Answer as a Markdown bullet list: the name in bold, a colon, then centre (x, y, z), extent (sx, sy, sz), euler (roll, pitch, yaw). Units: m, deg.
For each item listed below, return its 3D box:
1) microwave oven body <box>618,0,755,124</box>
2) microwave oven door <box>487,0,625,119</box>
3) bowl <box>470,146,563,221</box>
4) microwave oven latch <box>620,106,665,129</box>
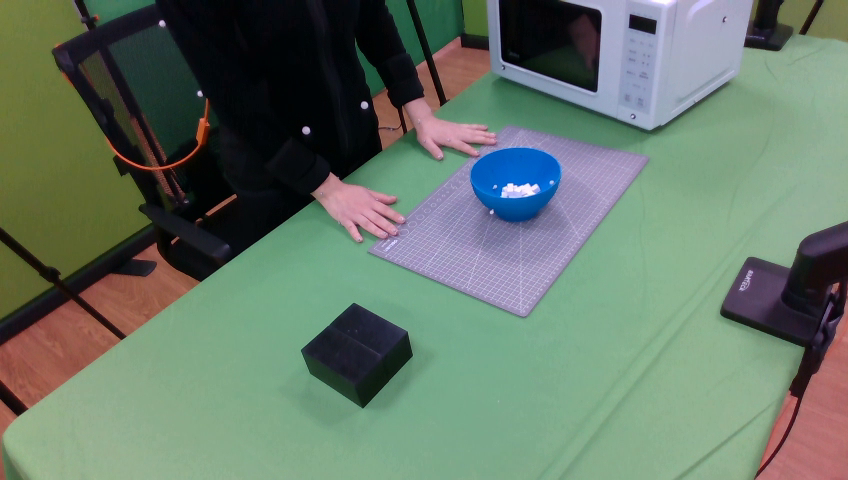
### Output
- **microwave oven body**: centre (0.402, -0.458, 1.259), extent (0.327, 0.261, 0.437), euler (-33, 45, -24)
- **microwave oven door**: centre (0.262, -0.409, 1.221), extent (0.039, 0.245, 0.352), euler (-33, 45, -25)
- **bowl**: centre (0.155, -0.084, 1.008), extent (0.151, 0.077, 0.150), euler (-6, 40, 5)
- **microwave oven latch**: centre (0.412, -0.237, 1.146), extent (0.030, 0.029, 0.078), euler (-32, 44, -23)
